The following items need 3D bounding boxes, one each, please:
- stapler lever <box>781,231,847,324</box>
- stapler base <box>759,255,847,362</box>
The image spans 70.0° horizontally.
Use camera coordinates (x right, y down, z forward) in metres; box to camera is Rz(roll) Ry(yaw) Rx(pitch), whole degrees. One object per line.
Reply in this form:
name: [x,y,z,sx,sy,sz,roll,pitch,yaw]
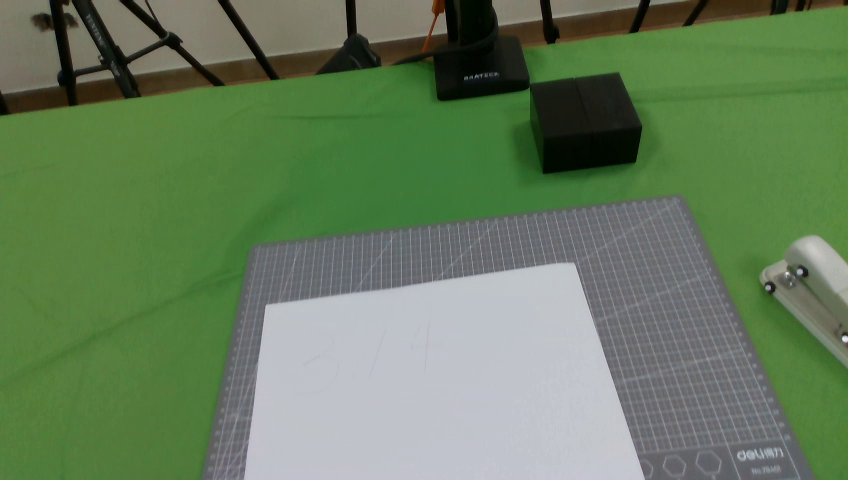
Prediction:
stapler lever: [0.334,0.041,0.478,0.027,0.040,0.116,-23,50,-8]
stapler base: [0.336,0.056,0.498,0.041,0.025,0.129,-23,51,-8]
